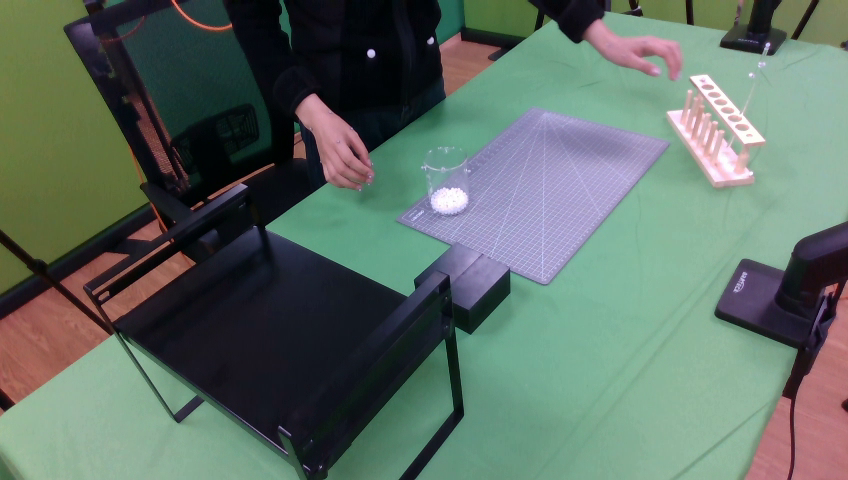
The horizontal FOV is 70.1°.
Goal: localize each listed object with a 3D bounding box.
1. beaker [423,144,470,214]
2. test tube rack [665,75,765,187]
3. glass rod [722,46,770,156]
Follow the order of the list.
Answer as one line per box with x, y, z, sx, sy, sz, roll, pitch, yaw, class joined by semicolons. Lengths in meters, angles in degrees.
0.040;-0.102;1.023;0.074;0.101;0.083;-3;40;4;beaker
0.512;-0.202;1.082;0.067;0.085;0.241;-5;41;2;test tube rack
0.533;-0.225;1.005;0.008;0.200;0.008;1;41;-1;glass rod
